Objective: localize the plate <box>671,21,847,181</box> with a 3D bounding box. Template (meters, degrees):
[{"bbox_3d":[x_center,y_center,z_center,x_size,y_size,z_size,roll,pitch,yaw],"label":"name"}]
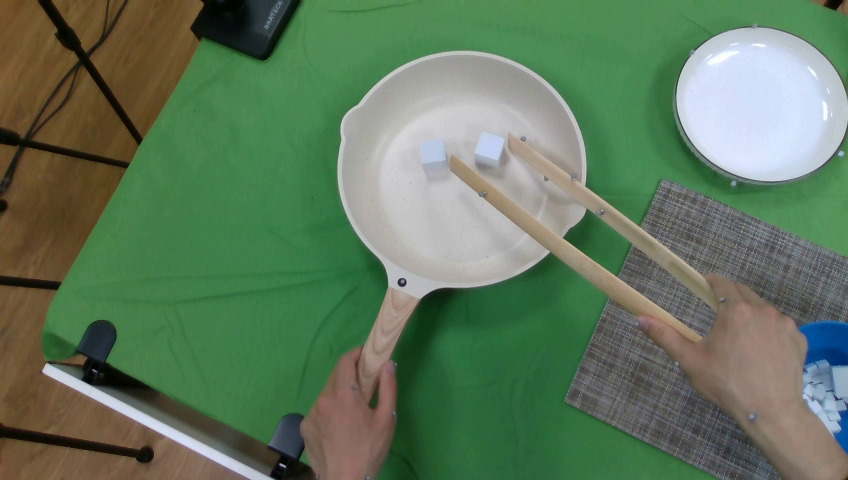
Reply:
[{"bbox_3d":[0.410,-0.169,0.752,0.207,0.039,0.206,-1,78,3],"label":"plate"}]

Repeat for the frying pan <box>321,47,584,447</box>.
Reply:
[{"bbox_3d":[-0.002,0.003,0.703,0.306,0.103,0.486,23,72,9],"label":"frying pan"}]

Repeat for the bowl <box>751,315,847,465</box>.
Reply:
[{"bbox_3d":[0.421,0.160,0.655,0.151,0.077,0.150,-1,78,3],"label":"bowl"}]

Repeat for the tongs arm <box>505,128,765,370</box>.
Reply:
[{"bbox_3d":[0.192,-0.014,0.638,0.051,0.027,0.380,-25,49,-24],"label":"tongs arm"}]

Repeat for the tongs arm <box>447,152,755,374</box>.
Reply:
[{"bbox_3d":[0.149,0.007,0.618,0.028,0.028,0.383,-26,49,-29],"label":"tongs arm"}]
